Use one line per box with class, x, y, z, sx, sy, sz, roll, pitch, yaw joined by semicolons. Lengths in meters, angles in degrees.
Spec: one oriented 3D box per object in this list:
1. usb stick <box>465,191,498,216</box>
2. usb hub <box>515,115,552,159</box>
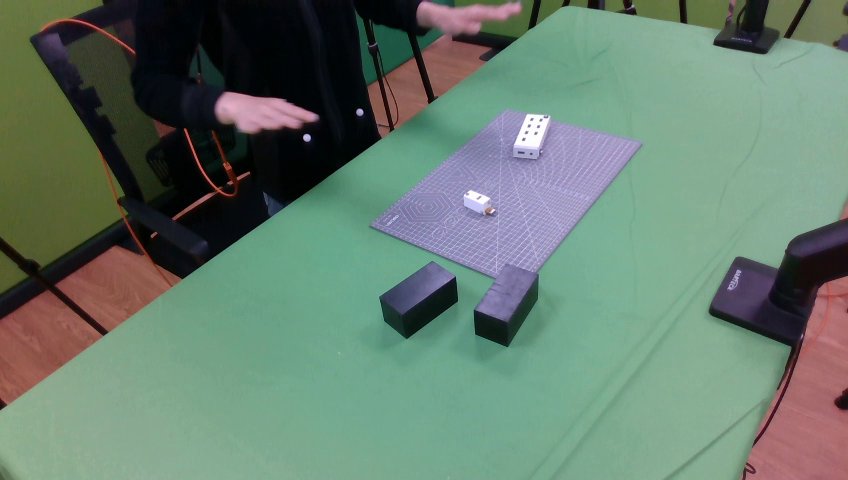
usb stick;0.099;-0.061;1.026;0.058;0.027;0.021;30;51;33
usb hub;0.213;-0.201;1.174;0.049;0.025;0.125;9;43;18
